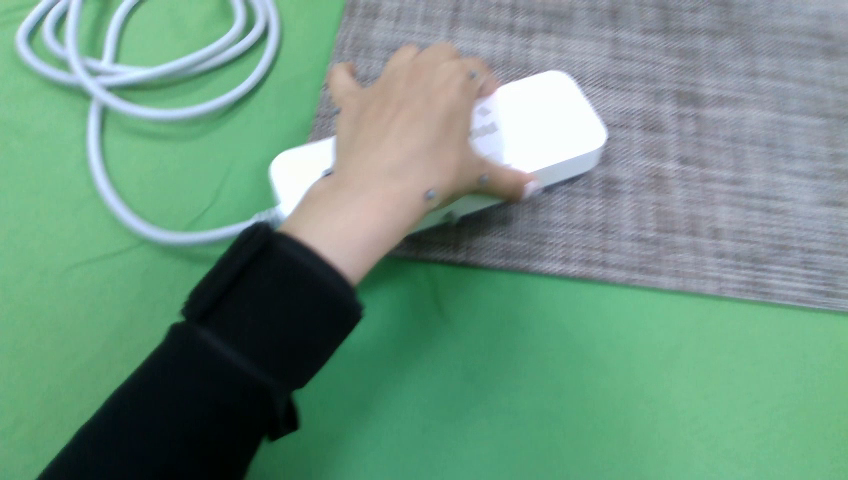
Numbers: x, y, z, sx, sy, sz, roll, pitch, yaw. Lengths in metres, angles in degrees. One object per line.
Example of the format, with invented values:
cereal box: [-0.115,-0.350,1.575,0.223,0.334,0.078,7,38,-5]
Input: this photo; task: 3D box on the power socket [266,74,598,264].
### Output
power socket: [0.008,-0.050,0.391,0.227,0.033,0.071,-20,64,-13]
